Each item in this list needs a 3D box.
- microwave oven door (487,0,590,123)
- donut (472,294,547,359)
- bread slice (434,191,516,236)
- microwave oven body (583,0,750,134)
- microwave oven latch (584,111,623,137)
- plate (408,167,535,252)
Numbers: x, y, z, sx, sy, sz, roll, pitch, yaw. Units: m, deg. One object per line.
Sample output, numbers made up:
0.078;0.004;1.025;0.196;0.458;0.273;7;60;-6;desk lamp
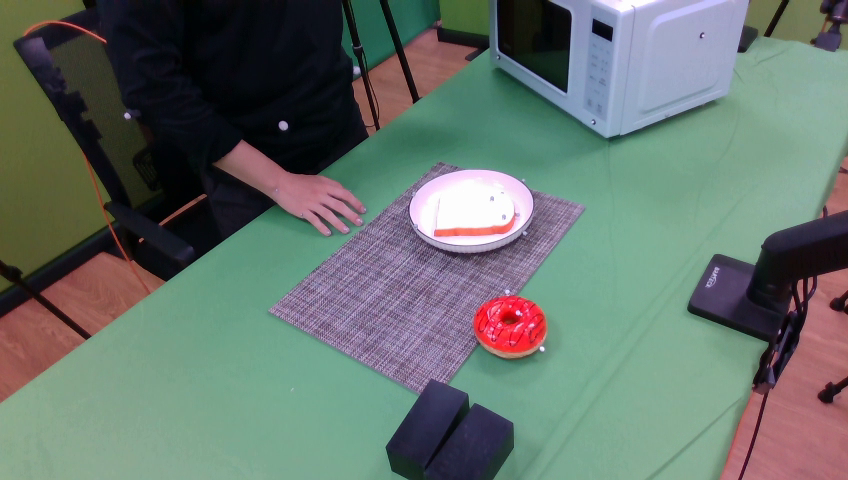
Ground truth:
0.232;-0.420;1.231;0.039;0.245;0.352;-22;43;-16;microwave oven door
0.114;0.114;0.803;0.099;0.048;0.098;0;40;1;donut
0.086;-0.046;0.996;0.131;0.019;0.104;-1;41;7;bread slice
0.382;-0.444;1.246;0.327;0.261;0.437;-22;42;-16;microwave oven body
0.337;-0.222;1.142;0.030;0.029;0.078;-21;42;-14;microwave oven latch
0.078;-0.047;0.996;0.207;0.039;0.206;-4;41;4;plate
